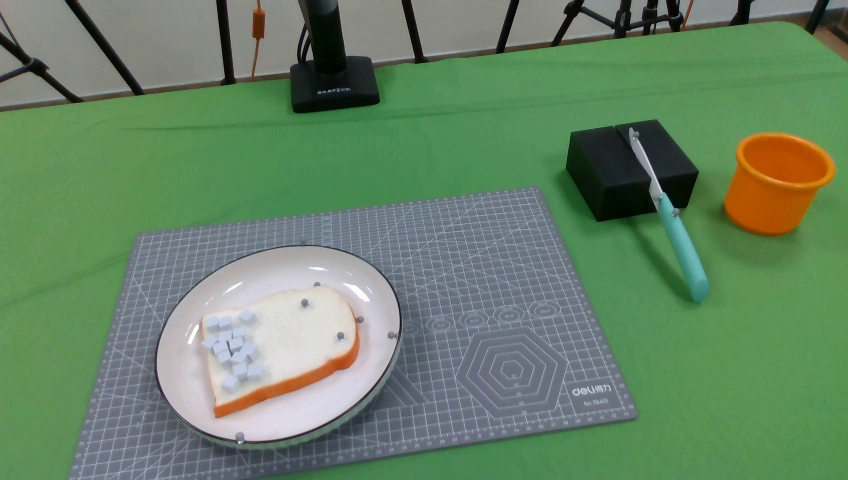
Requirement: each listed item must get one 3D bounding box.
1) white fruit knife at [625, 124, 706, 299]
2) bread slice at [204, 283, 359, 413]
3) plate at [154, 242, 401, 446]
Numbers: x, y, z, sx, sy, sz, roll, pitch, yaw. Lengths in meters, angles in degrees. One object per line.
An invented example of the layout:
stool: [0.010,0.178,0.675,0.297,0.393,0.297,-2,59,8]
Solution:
white fruit knife: [0.238,-0.038,0.611,0.016,0.027,0.205,-8,60,-6]
bread slice: [-0.126,0.085,0.535,0.132,0.019,0.103,-19,48,-13]
plate: [-0.123,0.086,0.529,0.209,0.038,0.207,-1,45,1]
